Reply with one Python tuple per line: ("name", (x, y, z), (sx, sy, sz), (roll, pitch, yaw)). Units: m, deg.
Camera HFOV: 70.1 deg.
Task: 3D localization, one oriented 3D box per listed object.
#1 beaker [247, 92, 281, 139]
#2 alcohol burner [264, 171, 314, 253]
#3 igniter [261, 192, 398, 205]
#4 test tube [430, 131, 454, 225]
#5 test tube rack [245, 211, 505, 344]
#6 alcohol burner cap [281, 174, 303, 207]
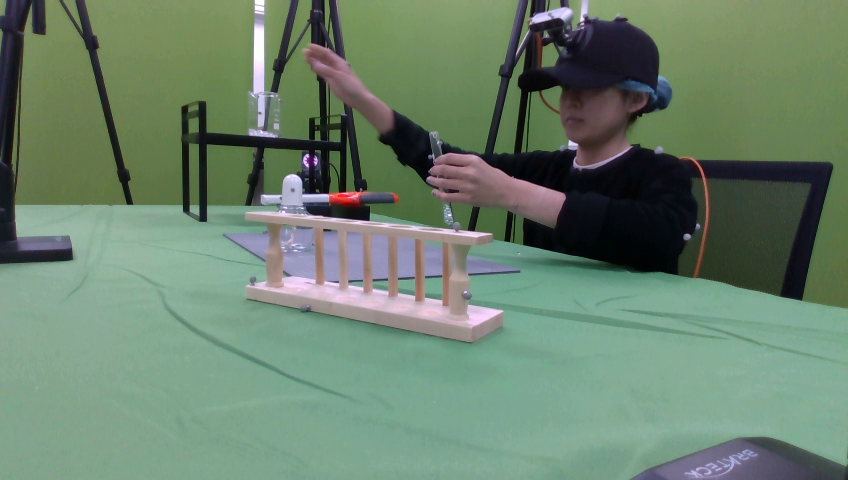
("beaker", (-0.361, -0.280, 1.359), (0.074, 0.100, 0.084), (4, 8, 8))
("alcohol burner", (-0.194, -0.042, 0.888), (0.078, 0.119, 0.078), (3, 5, 0))
("igniter", (-0.185, -0.083, 1.217), (0.278, 0.025, 0.057), (-2, 12, -25))
("test tube", (0.029, -0.097, 0.952), (0.017, 0.150, 0.017), (-10, 2, 1))
("test tube rack", (-0.049, 0.025, 0.547), (0.241, 0.085, 0.067), (7, 8, 29))
("alcohol burner cap", (-0.193, -0.072, 0.884), (0.034, 0.048, 0.034), (1, 5, 0))
